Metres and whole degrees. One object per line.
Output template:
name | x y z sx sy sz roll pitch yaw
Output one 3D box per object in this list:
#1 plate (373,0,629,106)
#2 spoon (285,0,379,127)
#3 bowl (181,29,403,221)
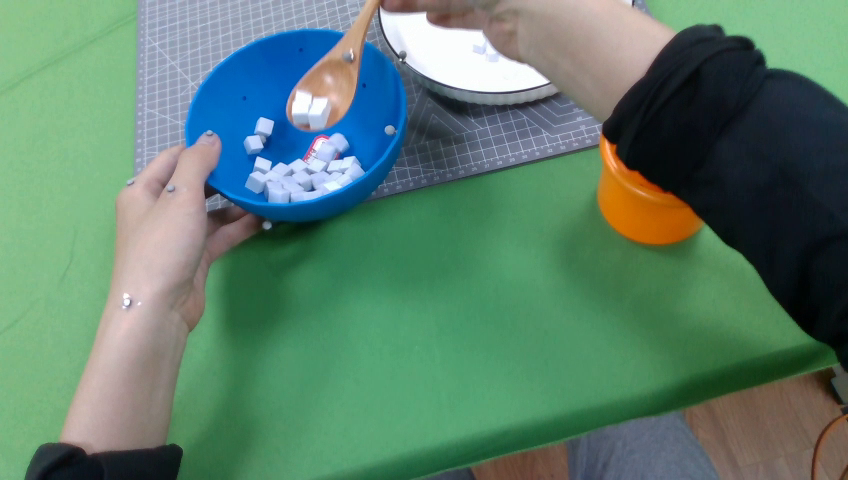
plate | 0.062 -0.193 0.510 0.209 0.038 0.207 -3 64 6
spoon | -0.030 -0.156 0.389 0.041 0.022 0.194 34 96 16
bowl | -0.085 -0.069 0.439 0.151 0.077 0.150 -2 63 5
